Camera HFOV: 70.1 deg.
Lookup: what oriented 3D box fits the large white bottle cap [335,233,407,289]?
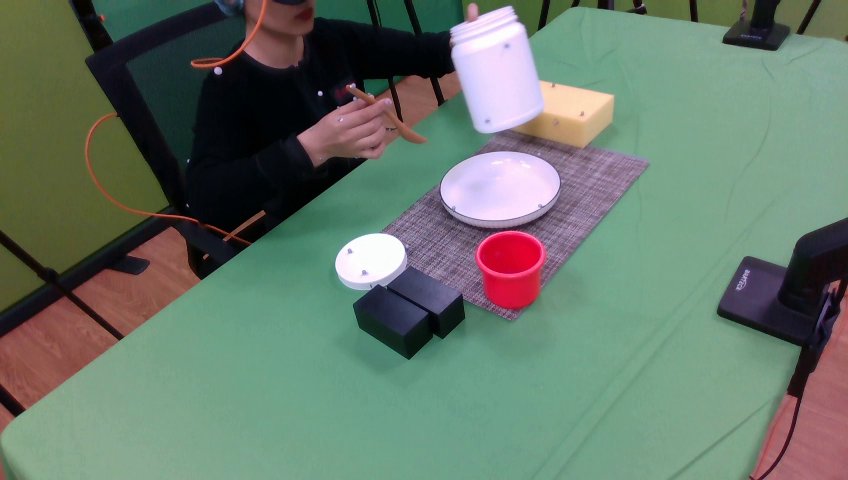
[{"bbox_3d":[-0.085,0.032,0.961,0.115,0.018,0.114,-6,41,6],"label":"large white bottle cap"}]

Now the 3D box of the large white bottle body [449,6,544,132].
[{"bbox_3d":[0.123,-0.295,1.049,0.130,0.185,0.130,-19,20,8],"label":"large white bottle body"}]

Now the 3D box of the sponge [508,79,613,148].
[{"bbox_3d":[0.254,-0.259,1.207,0.205,0.061,0.118,22,47,31],"label":"sponge"}]

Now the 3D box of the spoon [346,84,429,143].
[{"bbox_3d":[-0.055,-0.192,0.930,0.041,0.195,0.021,11,77,38],"label":"spoon"}]

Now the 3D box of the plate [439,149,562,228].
[{"bbox_3d":[0.131,-0.085,1.040,0.209,0.038,0.208,-5,41,5],"label":"plate"}]
